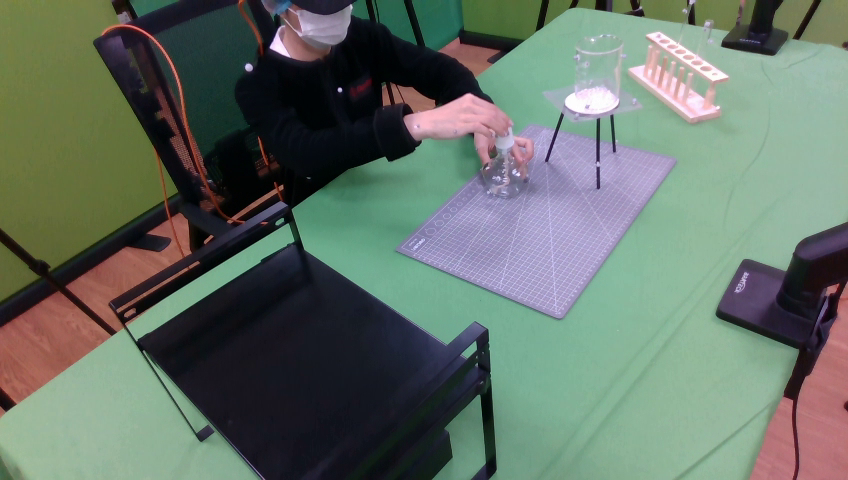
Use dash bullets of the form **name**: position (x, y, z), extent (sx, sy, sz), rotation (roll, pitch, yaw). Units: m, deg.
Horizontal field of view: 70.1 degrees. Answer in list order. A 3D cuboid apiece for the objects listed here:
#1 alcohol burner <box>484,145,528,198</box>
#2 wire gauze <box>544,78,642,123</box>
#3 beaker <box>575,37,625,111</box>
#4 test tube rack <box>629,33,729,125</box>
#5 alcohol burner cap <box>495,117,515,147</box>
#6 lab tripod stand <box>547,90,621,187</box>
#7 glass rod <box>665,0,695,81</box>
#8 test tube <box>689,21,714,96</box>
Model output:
- **alcohol burner**: position (0.141, -0.133, 1.042), extent (0.078, 0.119, 0.077), rotation (-4, 43, 5)
- **wire gauze**: position (0.282, -0.234, 1.021), extent (0.125, 0.011, 0.120), rotation (-16, 38, -4)
- **beaker**: position (0.283, -0.271, 0.988), extent (0.074, 0.101, 0.083), rotation (-10, 39, 1)
- **test tube rack**: position (0.516, -0.337, 1.247), extent (0.067, 0.085, 0.240), rotation (-14, 41, -7)
- **alcohol burner cap**: position (0.132, -0.181, 0.999), extent (0.034, 0.048, 0.033), rotation (-7, 45, 7)
- **lab tripod stand**: position (0.289, -0.184, 1.062), extent (0.148, 0.132, 0.147), rotation (-6, 41, 6)
- **glass rod**: position (0.524, -0.415, 1.234), extent (0.008, 0.200, 0.008), rotation (1, 46, 0)
- **test tube**: position (0.541, -0.353, 1.184), extent (0.017, 0.151, 0.017), rotation (-2, 40, 2)
